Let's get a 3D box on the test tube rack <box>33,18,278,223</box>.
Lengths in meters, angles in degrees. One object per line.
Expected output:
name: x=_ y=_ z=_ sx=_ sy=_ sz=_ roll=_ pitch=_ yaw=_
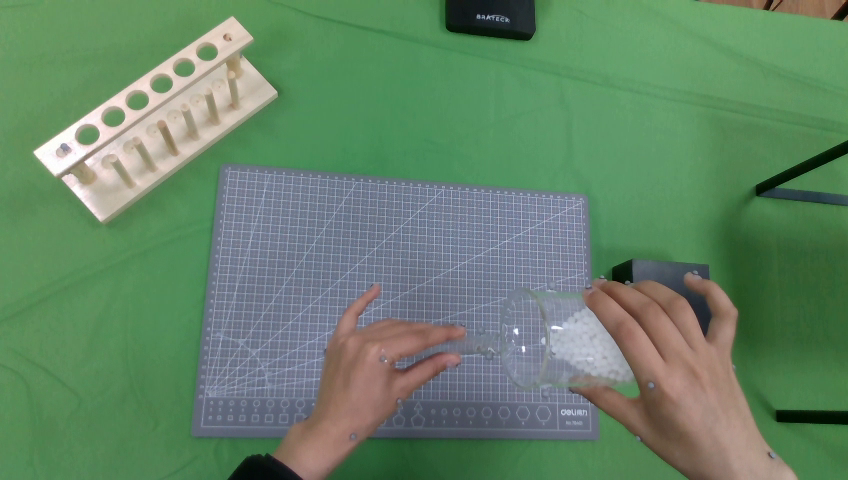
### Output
test tube rack: x=-0.276 y=-0.129 z=0.654 sx=0.242 sy=0.085 sz=0.066 roll=-42 pitch=87 yaw=-17

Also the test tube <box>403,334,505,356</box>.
test tube: x=0.021 y=0.095 z=0.539 sx=0.017 sy=0.150 sz=0.017 roll=6 pitch=77 yaw=-30

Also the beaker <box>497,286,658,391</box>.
beaker: x=0.114 y=0.076 z=0.456 sx=0.101 sy=0.084 sz=0.073 roll=4 pitch=73 yaw=-19
